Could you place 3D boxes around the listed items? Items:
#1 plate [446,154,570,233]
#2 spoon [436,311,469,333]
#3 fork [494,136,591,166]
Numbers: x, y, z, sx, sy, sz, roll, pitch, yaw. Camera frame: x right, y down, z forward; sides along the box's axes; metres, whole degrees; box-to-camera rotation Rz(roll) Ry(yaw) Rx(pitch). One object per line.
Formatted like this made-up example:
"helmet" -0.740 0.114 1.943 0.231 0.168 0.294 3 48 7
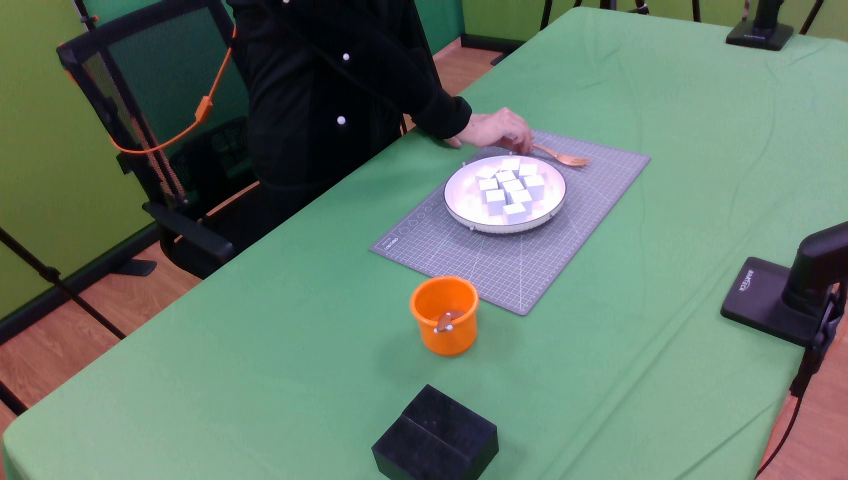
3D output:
"plate" 0.142 -0.076 1.033 0.207 0.039 0.206 -5 40 5
"spoon" 0.030 0.102 0.761 0.041 0.194 0.021 2 85 8
"fork" 0.219 -0.171 1.145 0.205 0.019 0.028 24 53 31
